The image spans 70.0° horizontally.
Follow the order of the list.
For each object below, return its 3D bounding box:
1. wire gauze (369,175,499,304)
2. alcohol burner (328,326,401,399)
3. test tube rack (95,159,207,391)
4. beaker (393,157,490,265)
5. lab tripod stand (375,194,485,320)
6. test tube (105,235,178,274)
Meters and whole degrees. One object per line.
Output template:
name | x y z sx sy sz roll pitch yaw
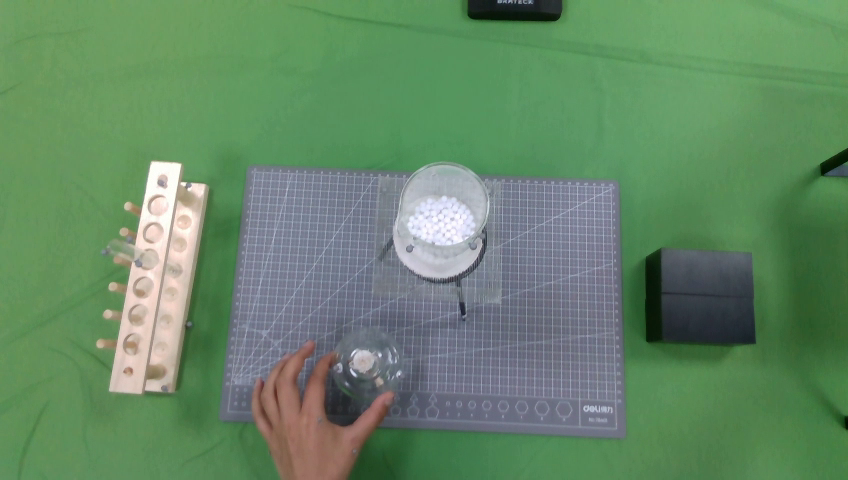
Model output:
wire gauze | 0.011 -0.003 0.581 0.125 0.011 0.121 4 78 -2
alcohol burner | -0.063 0.127 0.630 0.078 0.119 0.077 0 78 -1
test tube rack | -0.304 0.039 0.665 0.067 0.085 0.241 5 78 1
beaker | 0.012 -0.018 0.536 0.084 0.100 0.073 -31 79 -7
lab tripod stand | 0.015 0.008 0.646 0.148 0.132 0.147 0 76 0
test tube | -0.284 0.018 0.619 0.017 0.150 0.017 1 79 -2
